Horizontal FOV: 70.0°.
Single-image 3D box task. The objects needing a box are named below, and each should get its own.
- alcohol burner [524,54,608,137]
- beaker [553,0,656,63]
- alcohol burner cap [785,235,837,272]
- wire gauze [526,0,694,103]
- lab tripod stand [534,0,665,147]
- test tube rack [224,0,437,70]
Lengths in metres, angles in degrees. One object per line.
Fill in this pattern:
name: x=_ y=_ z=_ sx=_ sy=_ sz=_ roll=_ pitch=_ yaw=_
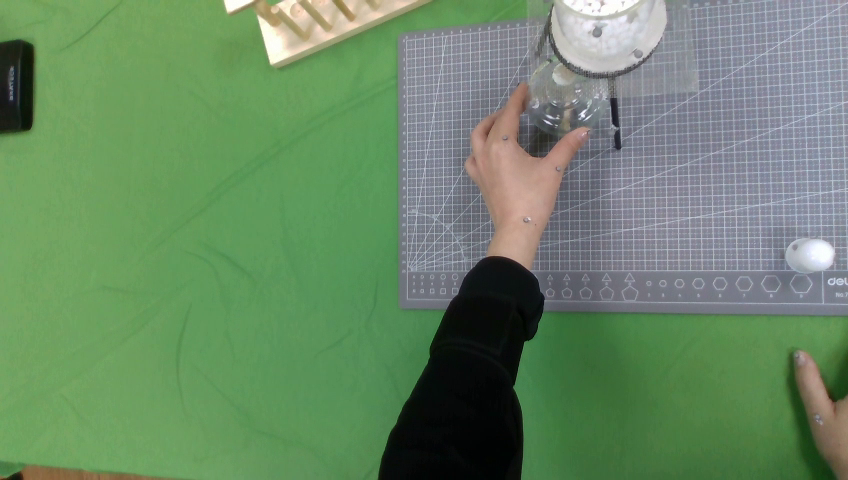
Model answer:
alcohol burner: x=0.129 y=-0.137 z=0.554 sx=0.077 sy=0.119 sz=0.078 roll=-1 pitch=87 yaw=15
beaker: x=0.125 y=-0.173 z=0.428 sx=0.083 sy=0.100 sz=0.074 roll=13 pitch=91 yaw=17
alcohol burner cap: x=0.337 y=0.011 z=0.525 sx=0.034 sy=0.048 sz=0.034 roll=-1 pitch=87 yaw=16
wire gauze: x=0.143 y=-0.170 z=0.473 sx=0.125 sy=0.011 sz=0.121 roll=-2 pitch=91 yaw=13
lab tripod stand: x=0.161 y=-0.166 z=0.536 sx=0.148 sy=0.132 sz=0.148 roll=0 pitch=88 yaw=15
test tube rack: x=-0.081 y=-0.267 z=0.638 sx=0.242 sy=0.085 sz=0.066 roll=-19 pitch=82 yaw=14
